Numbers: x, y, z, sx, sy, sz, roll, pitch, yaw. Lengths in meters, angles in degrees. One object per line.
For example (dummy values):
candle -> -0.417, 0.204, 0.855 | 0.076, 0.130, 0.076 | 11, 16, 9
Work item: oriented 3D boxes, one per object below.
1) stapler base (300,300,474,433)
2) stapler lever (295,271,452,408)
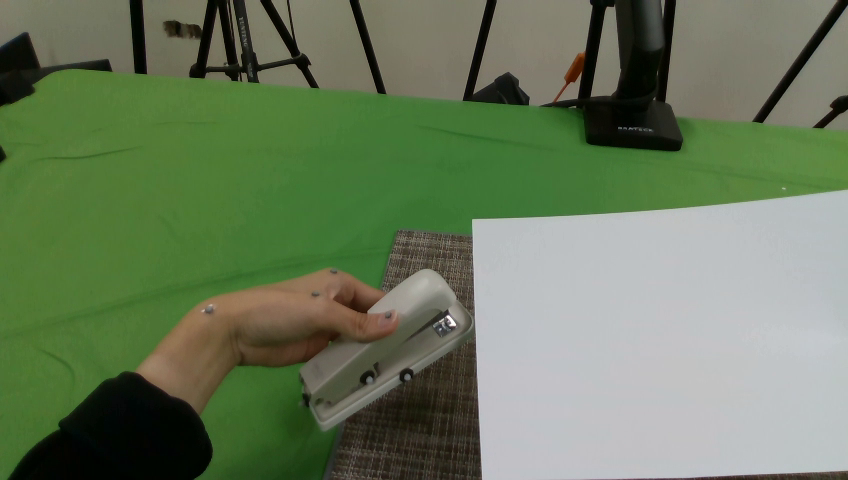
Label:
stapler base -> -0.027, 0.079, 0.421 | 0.130, 0.025, 0.041 | -32, 45, -12
stapler lever -> -0.034, 0.064, 0.403 | 0.118, 0.040, 0.026 | -32, 45, -12
